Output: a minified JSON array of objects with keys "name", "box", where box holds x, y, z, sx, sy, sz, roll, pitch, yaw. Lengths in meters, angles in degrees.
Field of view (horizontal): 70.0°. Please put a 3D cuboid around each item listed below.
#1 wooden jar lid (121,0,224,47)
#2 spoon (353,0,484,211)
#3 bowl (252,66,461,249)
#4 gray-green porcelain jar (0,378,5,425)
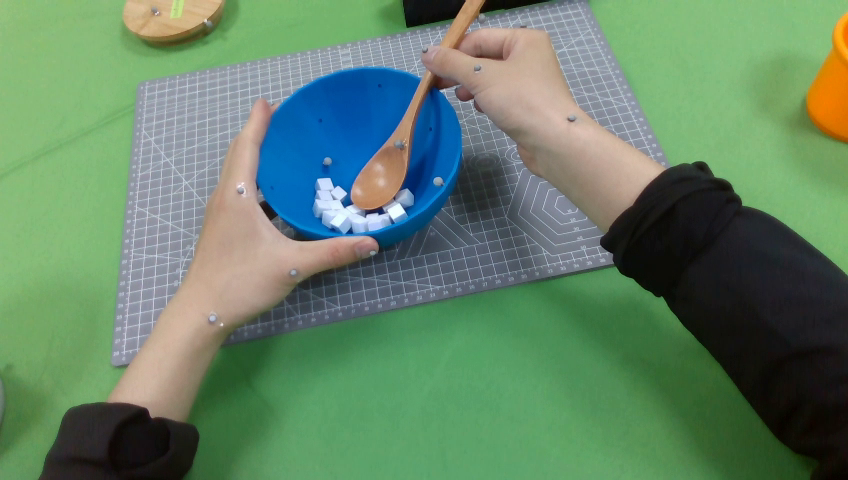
[{"name":"wooden jar lid","box":[-0.264,-0.244,0.642,0.108,0.021,0.107,-1,59,3]},{"name":"spoon","box":[0.000,-0.107,0.449,0.041,0.022,0.194,35,102,36]},{"name":"bowl","box":[-0.044,-0.050,0.462,0.151,0.077,0.150,-3,62,6]},{"name":"gray-green porcelain jar","box":[-0.346,0.101,0.377,0.106,0.127,0.105,-3,58,5]}]
